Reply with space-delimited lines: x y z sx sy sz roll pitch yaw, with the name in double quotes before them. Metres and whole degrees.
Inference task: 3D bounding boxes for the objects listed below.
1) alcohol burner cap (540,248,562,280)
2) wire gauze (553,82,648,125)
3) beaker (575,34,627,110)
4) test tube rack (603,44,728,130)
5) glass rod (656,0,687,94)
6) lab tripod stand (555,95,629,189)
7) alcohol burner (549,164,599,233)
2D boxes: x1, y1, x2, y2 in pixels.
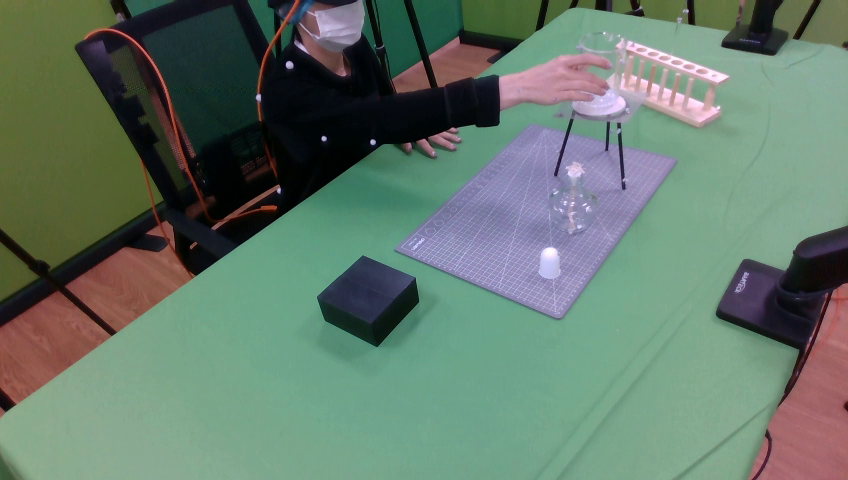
"alcohol burner cap" 0.187 0.032 0.888 0.034 0.048 0.033 -4 40 4
"wire gauze" 0.293 -0.226 1.002 0.120 0.011 0.125 17 45 27
"beaker" 0.283 -0.269 0.973 0.073 0.100 0.084 18 46 25
"test tube rack" 0.480 -0.316 1.227 0.067 0.085 0.240 -28 44 -22
"glass rod" 0.491 -0.381 1.199 0.008 0.200 0.008 1 41 0
"lab tripod stand" 0.300 -0.174 1.045 0.148 0.132 0.147 -5 38 5
"alcohol burner" 0.236 -0.069 0.946 0.078 0.119 0.077 -3 41 3
